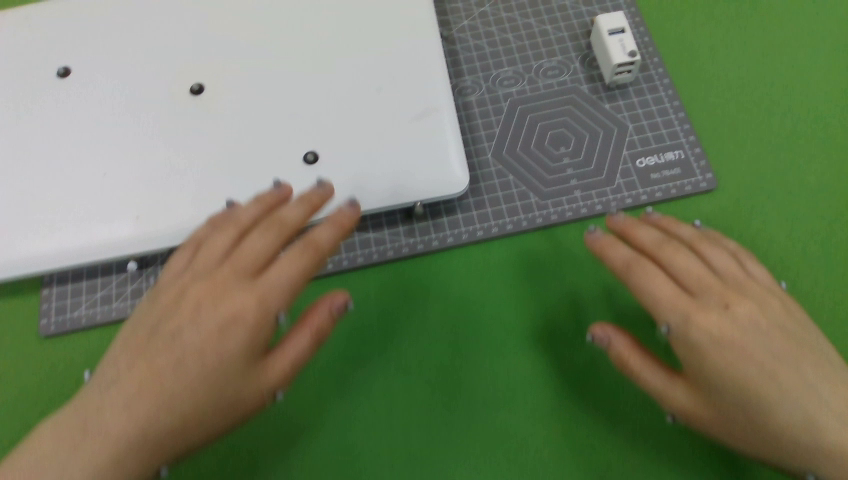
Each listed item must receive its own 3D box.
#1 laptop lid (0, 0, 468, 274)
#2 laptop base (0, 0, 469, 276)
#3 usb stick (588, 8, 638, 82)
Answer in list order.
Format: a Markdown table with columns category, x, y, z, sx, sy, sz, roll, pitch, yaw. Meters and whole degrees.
| category | x | y | z | sx | sy | sz | roll | pitch | yaw |
| --- | --- | --- | --- | --- | --- | --- | --- | --- | --- |
| laptop lid | -0.161 | -0.108 | 0.434 | 0.357 | 0.013 | 0.239 | -9 | 68 | 1 |
| laptop base | -0.160 | -0.105 | 0.445 | 0.354 | 0.023 | 0.233 | -10 | 70 | 0 |
| usb stick | 0.133 | -0.145 | 0.435 | 0.021 | 0.027 | 0.058 | -11 | 64 | 1 |
